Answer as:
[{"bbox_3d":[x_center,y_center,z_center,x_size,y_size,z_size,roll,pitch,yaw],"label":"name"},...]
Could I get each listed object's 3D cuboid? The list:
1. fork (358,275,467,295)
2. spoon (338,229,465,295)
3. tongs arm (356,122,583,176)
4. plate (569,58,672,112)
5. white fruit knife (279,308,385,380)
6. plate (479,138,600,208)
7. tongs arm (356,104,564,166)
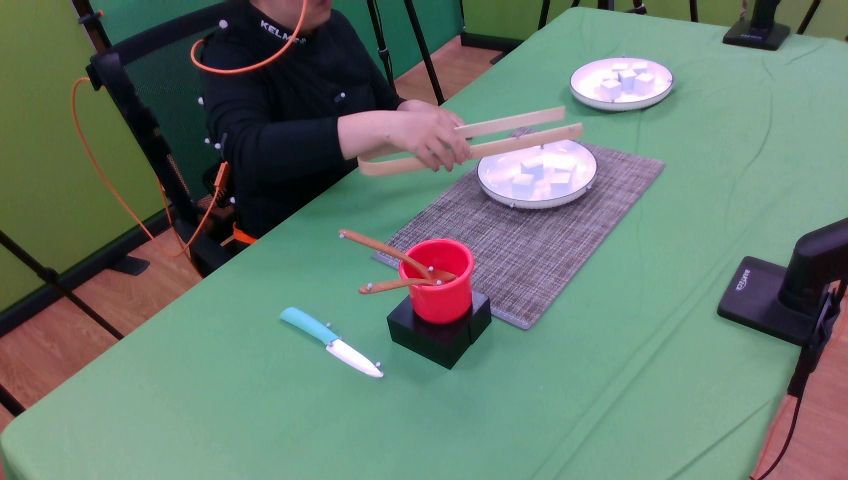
[{"bbox_3d":[-0.009,0.056,0.739,0.028,0.018,0.209,48,23,26],"label":"fork"},{"bbox_3d":[-0.025,0.026,0.776,0.021,0.195,0.041,-41,34,32],"label":"spoon"},{"bbox_3d":[0.080,-0.159,1.018,0.386,0.026,0.050,-14,41,-10],"label":"tongs arm"},{"bbox_3d":[0.411,-0.323,1.274,0.209,0.038,0.208,-5,41,5],"label":"plate"},{"bbox_3d":[-0.130,0.143,0.845,0.205,0.016,0.027,25,79,32],"label":"white fruit knife"},{"bbox_3d":[0.202,-0.117,1.065,0.207,0.039,0.206,-5,40,5],"label":"plate"},{"bbox_3d":[0.069,-0.185,1.051,0.389,0.028,0.028,-15,45,-11],"label":"tongs arm"}]
